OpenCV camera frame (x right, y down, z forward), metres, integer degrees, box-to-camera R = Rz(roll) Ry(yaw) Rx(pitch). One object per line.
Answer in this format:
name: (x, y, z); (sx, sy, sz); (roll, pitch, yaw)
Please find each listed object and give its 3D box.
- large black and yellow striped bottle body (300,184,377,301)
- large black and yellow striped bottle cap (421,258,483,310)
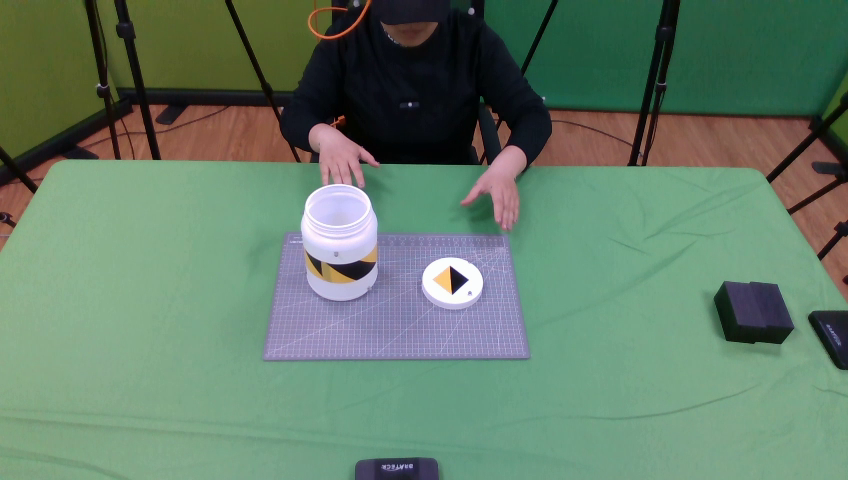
large black and yellow striped bottle body: (-0.148, 0.004, 1.067); (0.131, 0.185, 0.130); (2, 46, -2)
large black and yellow striped bottle cap: (0.053, 0.080, 1.126); (0.115, 0.019, 0.114); (2, 45, -1)
